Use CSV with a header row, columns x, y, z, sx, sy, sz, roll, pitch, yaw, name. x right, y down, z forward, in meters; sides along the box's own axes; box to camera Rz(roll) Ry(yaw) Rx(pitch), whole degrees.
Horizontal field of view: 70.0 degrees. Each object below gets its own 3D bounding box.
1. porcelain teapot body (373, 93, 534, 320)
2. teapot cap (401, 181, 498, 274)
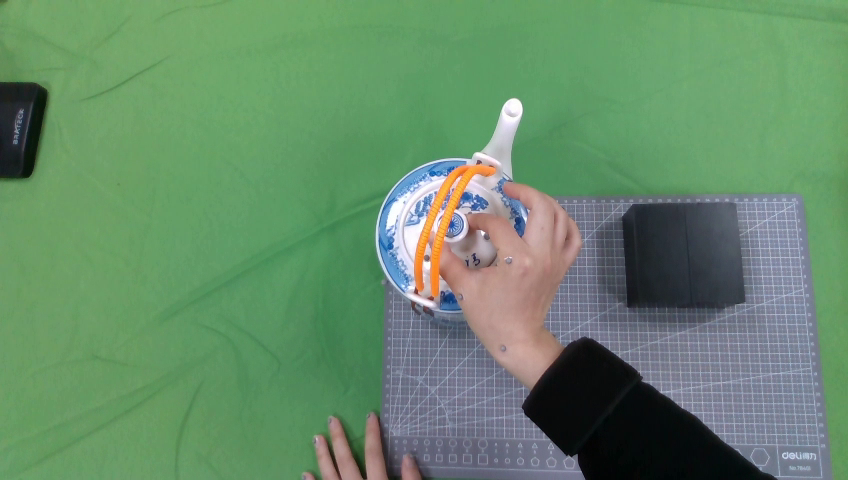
x,y,z,sx,sy,sz,roll,pitch,yaw,name
0.039,-0.032,0.562,0.145,0.226,0.205,22,81,9,porcelain teapot body
0.021,-0.013,0.519,0.085,0.044,0.084,-1,74,5,teapot cap
